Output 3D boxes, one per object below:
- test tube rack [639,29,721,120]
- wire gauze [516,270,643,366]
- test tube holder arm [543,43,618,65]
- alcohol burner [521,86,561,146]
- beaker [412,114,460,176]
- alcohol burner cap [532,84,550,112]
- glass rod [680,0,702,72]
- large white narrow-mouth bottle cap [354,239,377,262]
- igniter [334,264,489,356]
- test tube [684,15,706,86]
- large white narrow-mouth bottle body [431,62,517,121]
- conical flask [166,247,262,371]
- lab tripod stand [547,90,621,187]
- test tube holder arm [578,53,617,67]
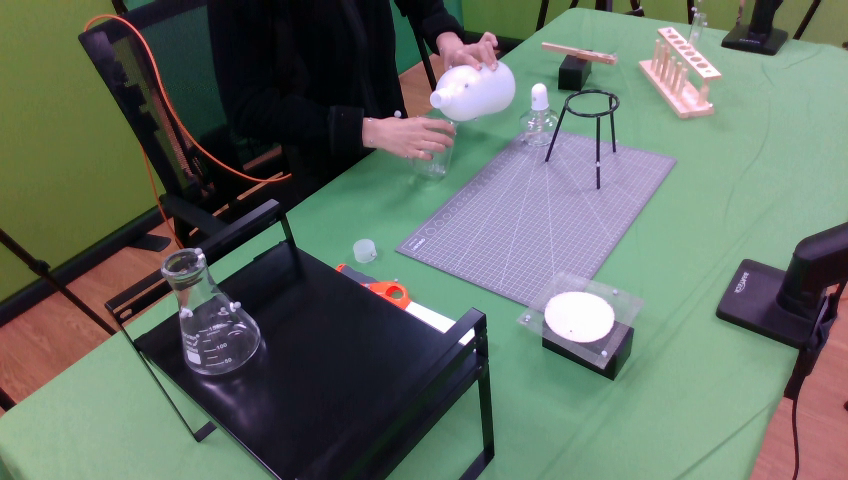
[{"bbox_3d":[0.527,-0.351,1.262,0.067,0.085,0.241,-8,40,1],"label":"test tube rack"},{"bbox_3d":[0.200,0.093,0.777,0.124,0.011,0.122,23,49,32],"label":"wire gauze"},{"bbox_3d":[0.344,-0.413,1.340,0.177,0.015,0.013,25,51,31],"label":"test tube holder arm"},{"bbox_3d":[0.223,-0.241,1.155,0.078,0.119,0.077,-5,43,5],"label":"alcohol burner"},{"bbox_3d":[0.022,-0.174,1.114,0.084,0.100,0.073,-3,24,-38],"label":"beaker"},{"bbox_3d":[0.218,-0.269,1.133,0.034,0.048,0.033,-8,36,7],"label":"alcohol burner cap"},{"bbox_3d":[0.542,-0.417,1.233,0.008,0.200,0.008,1,40,0],"label":"glass rod"},{"bbox_3d":[-0.095,0.017,0.981,0.038,0.024,0.037,-4,40,4],"label":"large white narrow-mouth bottle cap"},{"bbox_3d":[-0.030,0.095,0.871,0.274,0.025,0.057,22,59,31],"label":"igniter"},{"bbox_3d":[0.540,-0.378,1.215,0.017,0.151,0.017,-2,44,3],"label":"test tube"},{"bbox_3d":[0.085,-0.277,1.137,0.101,0.102,0.196,25,33,33],"label":"large white narrow-mouth bottle body"},{"bbox_3d":[-0.208,0.064,0.584,0.075,0.122,0.075,-5,40,4],"label":"conical flask"},{"bbox_3d":[0.288,-0.184,1.062,0.148,0.132,0.147,-6,41,6],"label":"lab tripod stand"},{"bbox_3d":[0.376,-0.393,1.314,0.087,0.015,0.010,26,51,32],"label":"test tube holder arm"}]
